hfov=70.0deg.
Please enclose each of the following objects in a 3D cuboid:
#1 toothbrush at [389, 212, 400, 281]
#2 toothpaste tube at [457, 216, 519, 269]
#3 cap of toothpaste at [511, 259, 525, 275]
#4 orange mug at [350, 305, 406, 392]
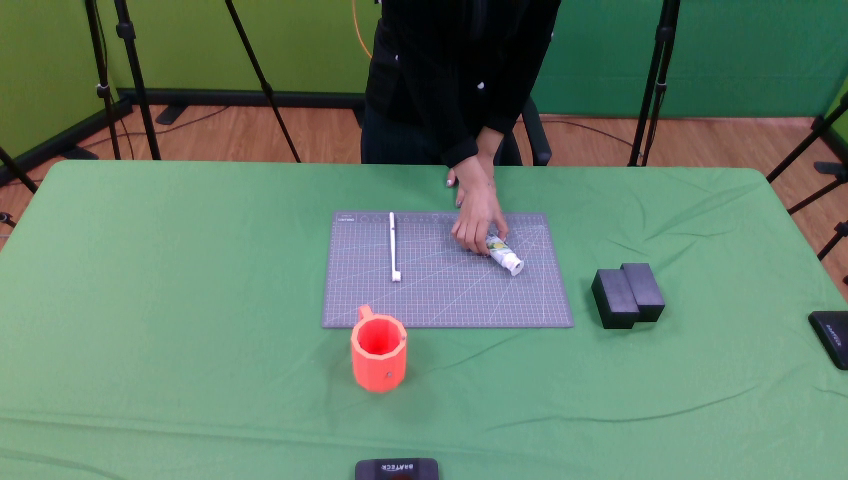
[{"bbox_3d":[-0.059,0.010,1.186,0.017,0.014,0.180,1,46,-8],"label":"toothbrush"},{"bbox_3d":[0.134,0.004,1.196,0.055,0.035,0.164,-17,44,-29],"label":"toothpaste tube"},{"bbox_3d":[0.176,0.050,1.144,0.037,0.037,0.011,-33,57,-29],"label":"cap of toothpaste"},{"bbox_3d":[-0.080,0.168,0.978,0.083,0.101,0.125,-16,54,-18],"label":"orange mug"}]
